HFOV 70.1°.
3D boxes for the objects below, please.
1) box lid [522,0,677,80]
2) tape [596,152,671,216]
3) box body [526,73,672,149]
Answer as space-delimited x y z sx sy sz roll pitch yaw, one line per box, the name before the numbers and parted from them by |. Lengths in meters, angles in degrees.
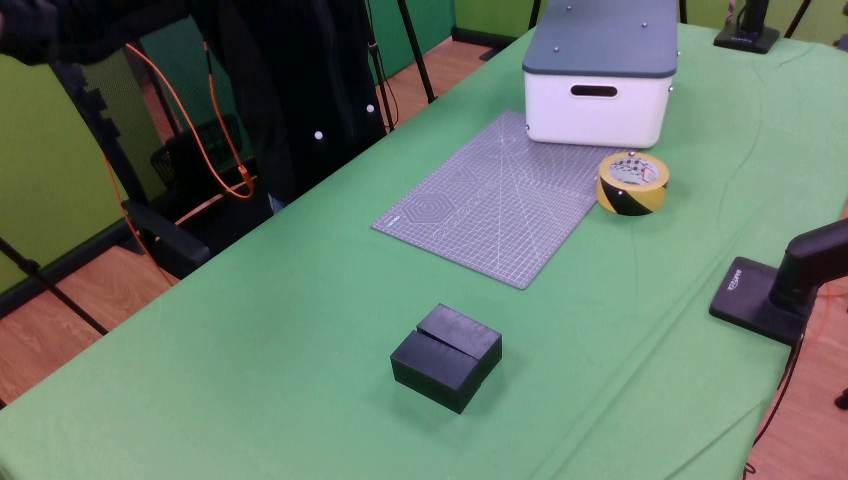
box lid | 0.346 -0.397 1.163 0.262 0.015 0.371 6 42 17
tape | 0.349 -0.095 1.009 0.117 0.053 0.116 -3 42 3
box body | 0.356 -0.342 1.212 0.253 0.161 0.363 7 42 17
